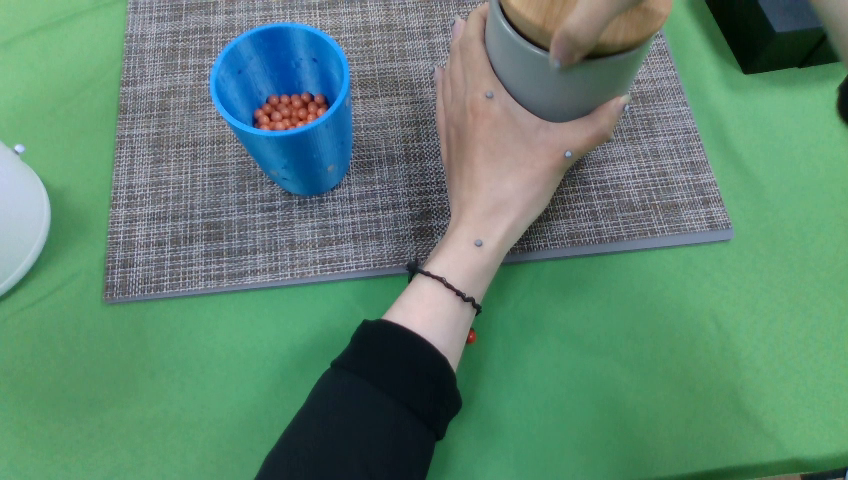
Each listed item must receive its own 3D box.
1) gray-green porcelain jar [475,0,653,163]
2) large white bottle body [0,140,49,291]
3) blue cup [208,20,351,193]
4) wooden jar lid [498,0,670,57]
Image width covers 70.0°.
[{"bbox_3d":[0.091,-0.123,0.424,0.106,0.127,0.105,0,66,-1],"label":"gray-green porcelain jar"},{"bbox_3d":[-0.328,-0.043,0.347,0.131,0.186,0.129,1,66,-2],"label":"large white bottle body"},{"bbox_3d":[-0.088,-0.081,0.414,0.092,0.101,0.092,0,67,0],"label":"blue cup"},{"bbox_3d":[0.092,-0.150,0.365,0.108,0.021,0.107,3,61,-5],"label":"wooden jar lid"}]
